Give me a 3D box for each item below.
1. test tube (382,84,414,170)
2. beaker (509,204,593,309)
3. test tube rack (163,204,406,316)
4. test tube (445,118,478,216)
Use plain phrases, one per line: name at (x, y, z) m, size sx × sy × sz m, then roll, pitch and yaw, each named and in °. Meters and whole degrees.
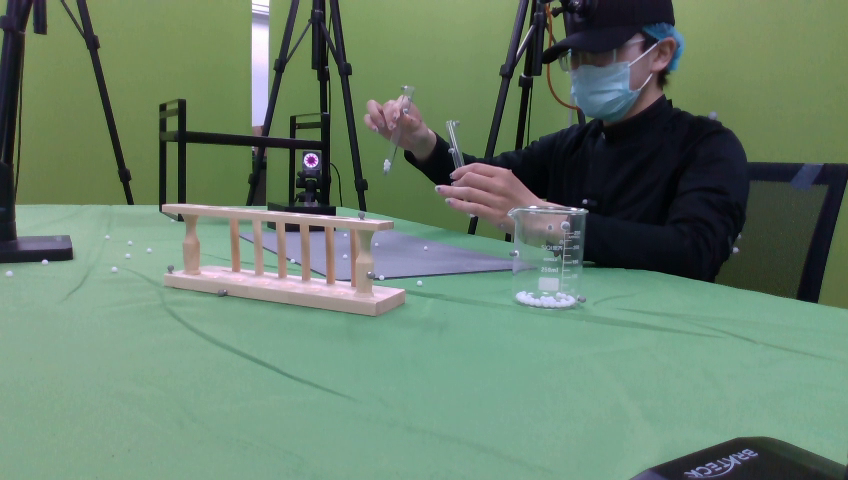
test tube at (-0.044, -0.186, 1.006) m, size 0.017 × 0.150 × 0.017 m, roll 16°, pitch 23°, yaw -7°
beaker at (0.125, 0.015, 0.613) m, size 0.084 × 0.100 × 0.074 m, roll 1°, pitch 7°, yaw -5°
test tube rack at (-0.141, 0.013, 0.601) m, size 0.241 × 0.085 × 0.067 m, roll 5°, pitch 8°, yaw 21°
test tube at (0.056, -0.108, 0.896) m, size 0.017 × 0.150 × 0.017 m, roll -14°, pitch -2°, yaw 0°
